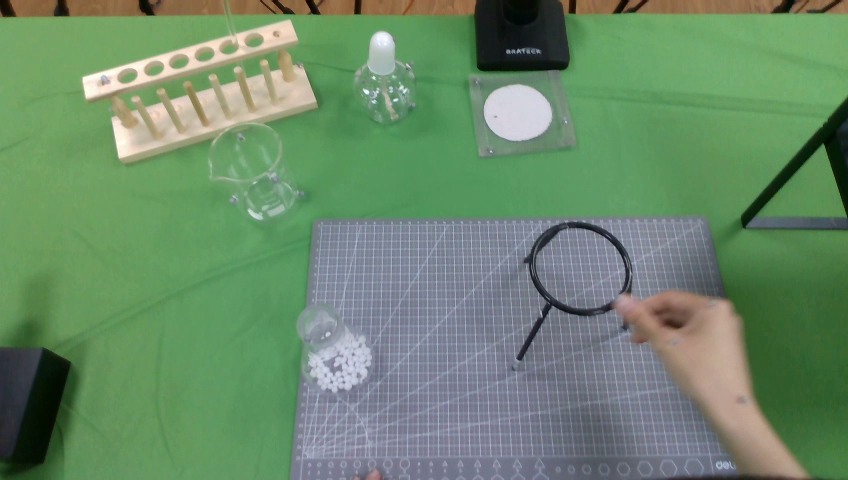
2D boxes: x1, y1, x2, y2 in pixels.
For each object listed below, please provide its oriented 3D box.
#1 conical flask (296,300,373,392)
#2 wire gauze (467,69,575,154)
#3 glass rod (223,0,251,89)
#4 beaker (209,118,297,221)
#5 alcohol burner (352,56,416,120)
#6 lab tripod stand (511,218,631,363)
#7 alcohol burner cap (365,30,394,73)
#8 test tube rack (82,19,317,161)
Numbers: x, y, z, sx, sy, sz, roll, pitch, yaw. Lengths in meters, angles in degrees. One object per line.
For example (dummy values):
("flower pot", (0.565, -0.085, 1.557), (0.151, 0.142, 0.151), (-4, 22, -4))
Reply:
("conical flask", (-0.090, 0.094, 0.568), (0.075, 0.123, 0.074), (0, 64, 1))
("wire gauze", (0.120, -0.166, 0.759), (0.121, 0.011, 0.124), (-4, 64, -3))
("glass rod", (-0.213, -0.239, 0.678), (0.008, 0.201, 0.008), (2, 62, -4))
("beaker", (-0.185, -0.071, 0.664), (0.084, 0.101, 0.073), (-40, 70, -17))
("alcohol burner", (-0.048, -0.199, 0.718), (0.078, 0.120, 0.077), (0, 62, 0))
("lab tripod stand", (0.139, 0.047, 0.584), (0.148, 0.132, 0.147), (1, 63, -1))
("alcohol burner cap", (-0.049, -0.217, 0.686), (0.034, 0.048, 0.033), (4, 63, -7))
("test tube rack", (-0.260, -0.178, 0.723), (0.242, 0.086, 0.066), (-19, 65, -9))
